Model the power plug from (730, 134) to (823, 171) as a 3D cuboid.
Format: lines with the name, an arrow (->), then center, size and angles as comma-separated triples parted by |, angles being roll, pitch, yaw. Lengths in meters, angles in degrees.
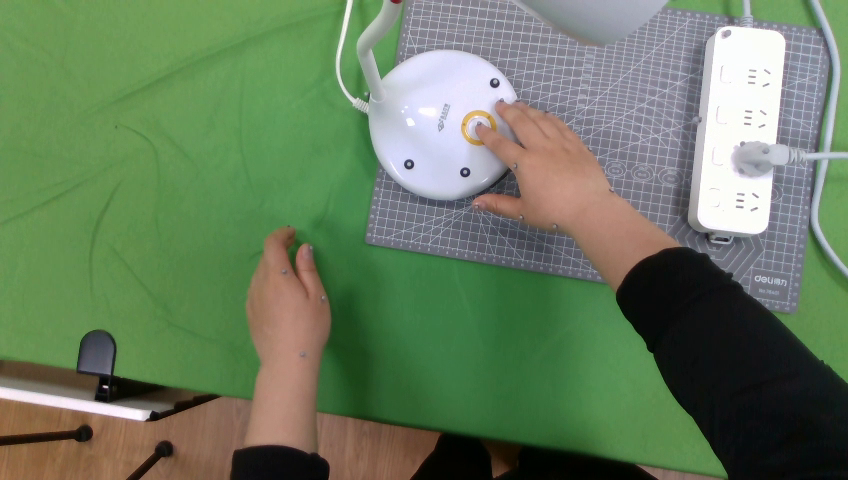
power plug -> 0.338, -0.080, 0.593 | 0.072, 0.053, 0.035 | 18, 89, 1

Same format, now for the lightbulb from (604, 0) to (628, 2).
lightbulb -> 0.070, -0.148, 0.267 | 0.108, 0.059, 0.059 | 20, 87, -22

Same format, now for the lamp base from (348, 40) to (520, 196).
lamp base -> 0.002, -0.132, 0.560 | 0.179, 0.181, 0.160 | 5, 86, 7

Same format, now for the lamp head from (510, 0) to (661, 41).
lamp head -> 0.046, -0.158, 0.263 | 0.123, 0.112, 0.112 | 12, 87, -18

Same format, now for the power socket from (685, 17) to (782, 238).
power socket -> 0.314, -0.115, 0.615 | 0.072, 0.032, 0.226 | 7, 87, 3
